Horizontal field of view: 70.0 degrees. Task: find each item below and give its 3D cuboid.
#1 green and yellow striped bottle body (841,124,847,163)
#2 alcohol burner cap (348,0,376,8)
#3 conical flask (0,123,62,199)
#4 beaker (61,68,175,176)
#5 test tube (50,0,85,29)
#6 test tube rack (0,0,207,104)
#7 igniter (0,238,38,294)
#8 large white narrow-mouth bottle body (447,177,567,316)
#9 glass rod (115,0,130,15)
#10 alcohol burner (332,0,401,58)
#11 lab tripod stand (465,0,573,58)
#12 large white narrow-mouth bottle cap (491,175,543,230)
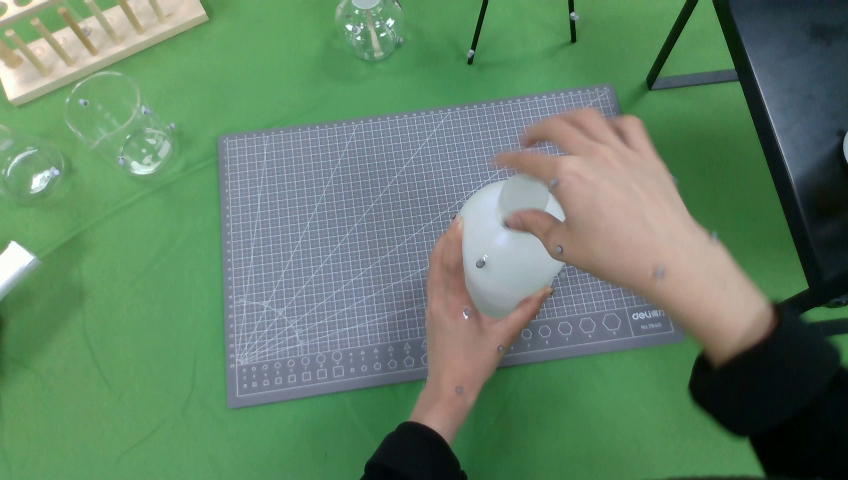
[{"bbox_3d":[0.350,-0.089,0.410,0.063,0.120,0.063,0,70,1],"label":"green and yellow striped bottle body"},{"bbox_3d":[-0.067,-0.272,0.634,0.034,0.048,0.033,0,69,0],"label":"alcohol burner cap"},{"bbox_3d":[-0.436,-0.097,0.612,0.075,0.122,0.075,0,70,1],"label":"conical flask"},{"bbox_3d":[-0.312,-0.115,0.629,0.074,0.101,0.083,6,71,4],"label":"beaker"},{"bbox_3d":[-0.409,-0.279,0.641,0.017,0.151,0.017,-2,68,5],"label":"test tube"},{"bbox_3d":[-0.385,-0.254,0.685,0.242,0.086,0.066,-28,72,-9],"label":"test tube rack"},{"bbox_3d":[-0.466,0.110,0.542,0.057,0.025,0.276,35,72,10],"label":"igniter"},{"bbox_3d":[0.072,0.002,0.532,0.102,0.196,0.101,0,72,1],"label":"large white narrow-mouth bottle body"},{"bbox_3d":[-0.368,-0.312,0.635,0.008,0.201,0.008,-3,65,7],"label":"glass rod"},{"bbox_3d":[-0.065,-0.258,0.668,0.078,0.120,0.077,0,69,0],"label":"alcohol burner"},{"bbox_3d":[0.104,-0.280,0.663,0.148,0.132,0.147,0,69,0],"label":"lab tripod stand"},{"bbox_3d":[0.068,-0.027,0.440,0.038,0.024,0.037,0,73,1],"label":"large white narrow-mouth bottle cap"}]
